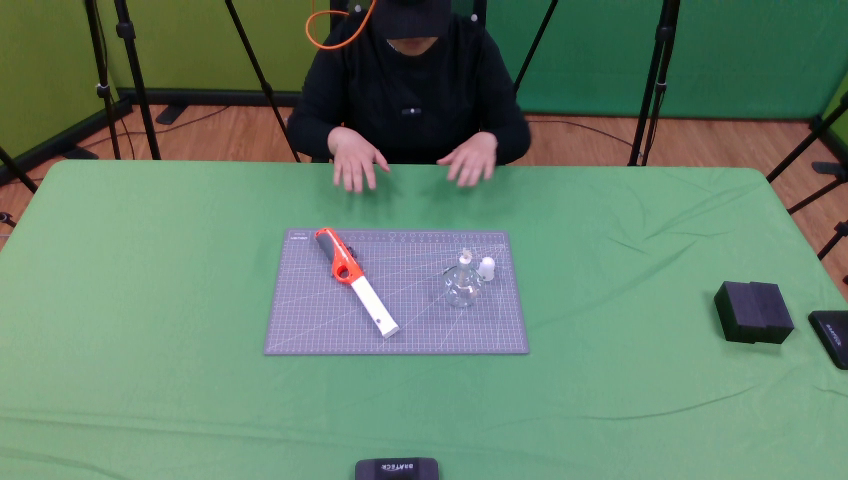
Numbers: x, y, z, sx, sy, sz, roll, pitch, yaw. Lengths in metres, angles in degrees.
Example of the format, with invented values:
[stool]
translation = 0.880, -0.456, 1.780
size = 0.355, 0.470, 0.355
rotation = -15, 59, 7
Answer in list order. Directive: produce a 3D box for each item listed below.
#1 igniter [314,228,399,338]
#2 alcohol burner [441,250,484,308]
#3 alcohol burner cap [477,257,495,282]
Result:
[igniter]
translation = -0.128, 0.069, 1.111
size = 0.057, 0.025, 0.275
rotation = -36, 57, -5
[alcohol burner]
translation = 0.069, 0.064, 1.075
size = 0.078, 0.120, 0.077
rotation = 1, 45, -1
[alcohol burner cap]
translation = 0.118, 0.053, 1.139
size = 0.034, 0.048, 0.033
rotation = 2, 46, -2
